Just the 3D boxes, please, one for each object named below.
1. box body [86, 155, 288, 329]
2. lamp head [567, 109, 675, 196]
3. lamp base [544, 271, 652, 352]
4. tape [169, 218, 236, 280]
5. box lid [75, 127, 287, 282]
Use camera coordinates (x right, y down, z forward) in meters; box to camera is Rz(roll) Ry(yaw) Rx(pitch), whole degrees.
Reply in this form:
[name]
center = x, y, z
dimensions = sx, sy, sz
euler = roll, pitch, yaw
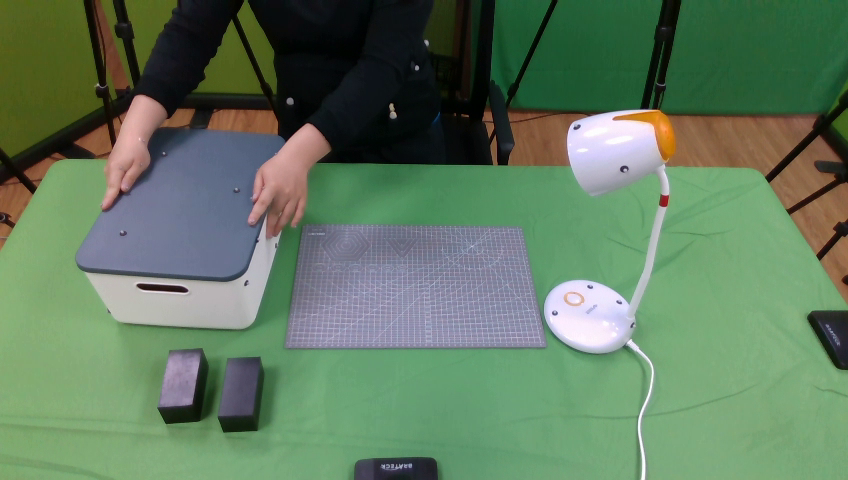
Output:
[box body]
center = -0.401, -0.025, 1.094
dimensions = 0.254, 0.161, 0.362
euler = 3, 46, -1
[lamp head]
center = 0.272, -0.123, 0.818
dimensions = 0.122, 0.113, 0.112
euler = -9, 35, 37
[lamp base]
center = 0.310, 0.086, 1.029
dimensions = 0.178, 0.181, 0.160
euler = 32, 52, 21
[tape]
center = -0.408, 0.015, 1.122
dimensions = 0.117, 0.053, 0.116
euler = 2, 46, -2
[box lid]
center = -0.398, -0.074, 1.039
dimensions = 0.263, 0.015, 0.369
euler = 4, 46, -1
